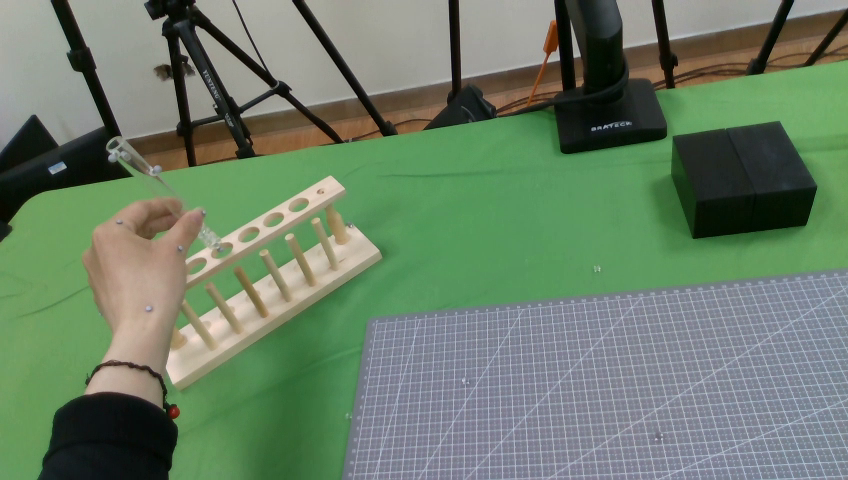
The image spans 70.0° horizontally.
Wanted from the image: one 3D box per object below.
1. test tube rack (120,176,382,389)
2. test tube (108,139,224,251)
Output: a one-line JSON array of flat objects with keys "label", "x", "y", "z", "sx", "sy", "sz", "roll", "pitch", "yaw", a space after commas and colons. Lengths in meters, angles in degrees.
[{"label": "test tube rack", "x": -0.170, "y": 0.039, "z": 0.623, "sx": 0.242, "sy": 0.086, "sz": 0.066, "roll": -34, "pitch": 45, "yaw": -16}, {"label": "test tube", "x": -0.222, "y": -0.034, "z": 0.536, "sx": 0.017, "sy": 0.152, "sz": 0.017, "roll": -9, "pitch": 55, "yaw": 14}]
